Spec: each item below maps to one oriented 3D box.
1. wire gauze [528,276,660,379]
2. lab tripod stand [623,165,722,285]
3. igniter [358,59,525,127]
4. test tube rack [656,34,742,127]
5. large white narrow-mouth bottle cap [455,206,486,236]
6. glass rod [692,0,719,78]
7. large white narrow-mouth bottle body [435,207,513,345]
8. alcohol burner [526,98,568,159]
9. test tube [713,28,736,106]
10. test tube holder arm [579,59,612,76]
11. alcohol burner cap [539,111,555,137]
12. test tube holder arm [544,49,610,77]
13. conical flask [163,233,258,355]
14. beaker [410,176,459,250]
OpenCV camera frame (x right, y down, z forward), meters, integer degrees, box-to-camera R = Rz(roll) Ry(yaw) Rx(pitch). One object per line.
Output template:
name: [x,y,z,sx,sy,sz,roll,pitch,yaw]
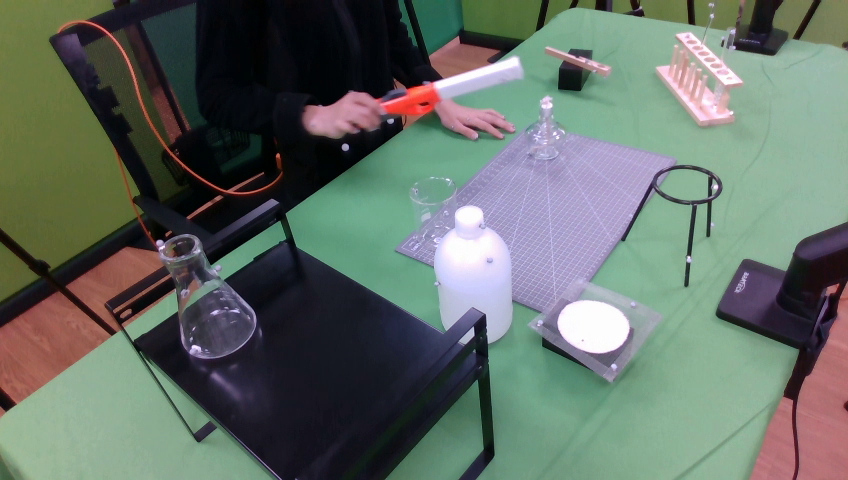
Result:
wire gauze: [0.213,0.103,0.763,0.124,0.011,0.122,30,52,35]
lab tripod stand: [0.365,-0.030,0.875,0.148,0.132,0.147,-6,41,6]
igniter: [0.019,-0.225,0.936,0.275,0.057,0.025,-13,55,18]
test tube rack: [0.553,-0.331,1.233,0.067,0.085,0.241,-7,40,2]
large white narrow-mouth bottle cap: [0.057,-0.023,0.734,0.038,0.024,0.037,-4,40,4]
glass rod: [0.561,-0.401,1.214,0.008,0.200,0.008,-1,48,2]
large white narrow-mouth bottle body: [0.065,0.041,0.791,0.102,0.195,0.101,-4,40,4]
alcohol burner: [0.228,-0.210,1.118,0.078,0.119,0.077,-5,43,5]
test tube: [0.570,-0.325,1.149,0.017,0.151,0.017,-4,36,4]
test tube holder arm: [0.362,-0.368,1.289,0.010,0.015,0.087,-25,43,-32]
alcohol burner cap: [0.244,-0.232,1.197,0.034,0.048,0.033,-5,41,4]
test tube holder arm: [0.329,-0.386,1.314,0.013,0.015,0.177,-25,43,-32]
conical flask: [-0.217,0.051,0.601,0.075,0.122,0.075,-4,40,4]
beaker: [0.022,-0.041,0.963,0.073,0.101,0.084,28,51,35]
